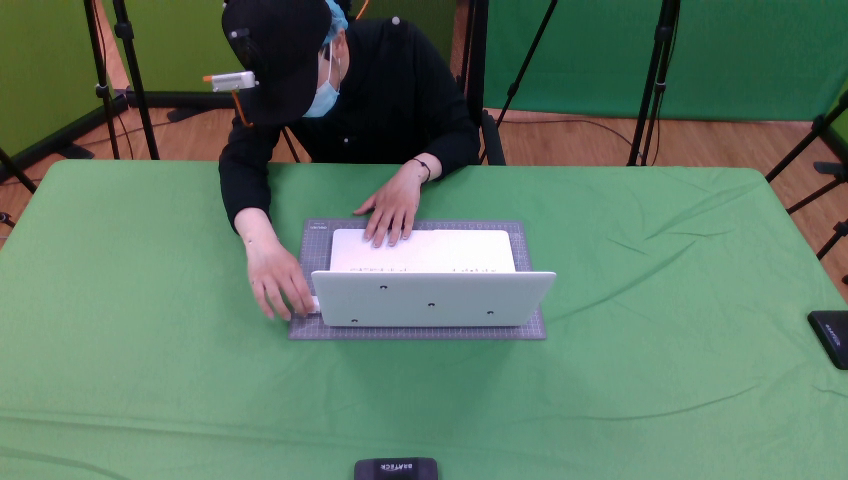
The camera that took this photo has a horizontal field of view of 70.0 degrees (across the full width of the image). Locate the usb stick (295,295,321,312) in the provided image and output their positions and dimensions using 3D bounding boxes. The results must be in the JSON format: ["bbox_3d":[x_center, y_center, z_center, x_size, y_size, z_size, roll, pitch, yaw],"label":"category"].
[{"bbox_3d":[-0.195,0.112,1.058,0.059,0.027,0.021,3,46,-8],"label":"usb stick"}]

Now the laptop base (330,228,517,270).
[{"bbox_3d":[0.001,0.064,1.134,0.354,0.023,0.234,0,43,-3],"label":"laptop base"}]

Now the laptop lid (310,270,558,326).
[{"bbox_3d":[0.011,0.096,0.948,0.357,0.242,0.013,1,64,-4],"label":"laptop lid"}]
